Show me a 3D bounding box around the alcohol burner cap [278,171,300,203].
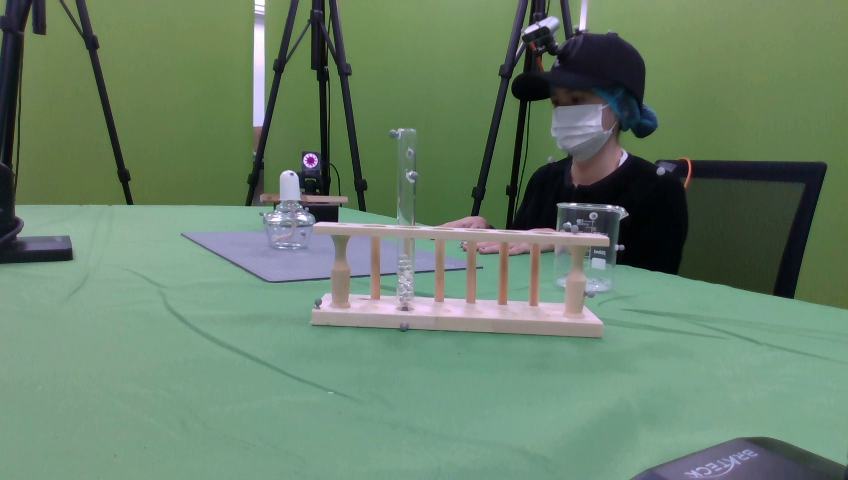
[{"bbox_3d":[-0.203,-0.080,0.909,0.034,0.048,0.034,-1,3,0],"label":"alcohol burner cap"}]

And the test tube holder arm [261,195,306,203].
[{"bbox_3d":[-0.275,-0.081,1.184,0.088,0.015,0.010,-1,0,-32],"label":"test tube holder arm"}]

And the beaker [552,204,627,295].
[{"bbox_3d":[0.191,0.010,0.708,0.083,0.100,0.074,8,9,33],"label":"beaker"}]

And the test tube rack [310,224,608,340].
[{"bbox_3d":[0.028,0.032,0.528,0.242,0.085,0.067,3,7,0],"label":"test tube rack"}]

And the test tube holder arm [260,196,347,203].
[{"bbox_3d":[-0.239,-0.082,1.213,0.179,0.015,0.013,-1,-1,-32],"label":"test tube holder arm"}]

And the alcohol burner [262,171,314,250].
[{"bbox_3d":[-0.205,-0.045,0.913,0.078,0.119,0.078,1,9,0],"label":"alcohol burner"}]

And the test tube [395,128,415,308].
[{"bbox_3d":[-0.016,-0.016,0.502,0.017,0.150,0.017,1,10,0],"label":"test tube"}]
